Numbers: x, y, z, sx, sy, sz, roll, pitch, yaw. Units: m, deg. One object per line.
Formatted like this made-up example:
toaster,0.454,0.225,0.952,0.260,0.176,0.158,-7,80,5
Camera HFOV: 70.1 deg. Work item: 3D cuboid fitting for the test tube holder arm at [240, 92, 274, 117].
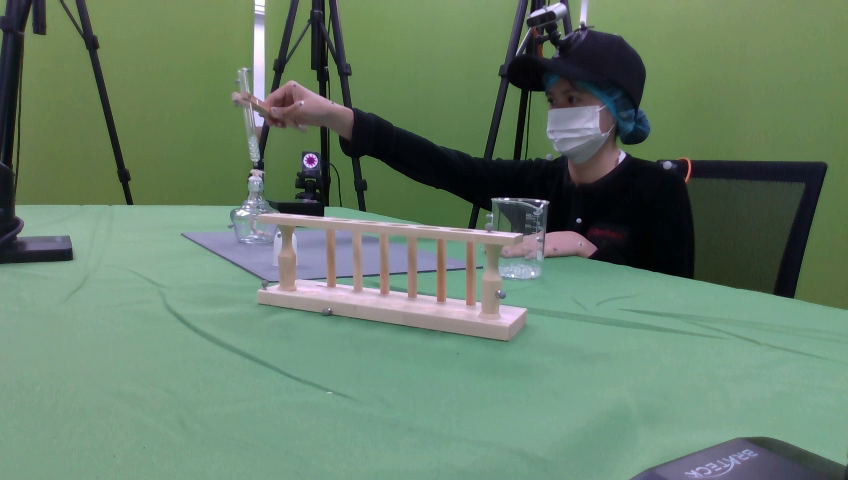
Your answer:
test tube holder arm,-0.268,-0.218,0.978,0.010,0.015,0.088,-6,-9,15

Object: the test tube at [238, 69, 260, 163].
test tube,-0.277,-0.197,0.957,0.017,0.150,0.017,-8,-3,0

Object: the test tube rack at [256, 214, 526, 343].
test tube rack,-0.032,0.027,0.547,0.241,0.085,0.067,6,7,22

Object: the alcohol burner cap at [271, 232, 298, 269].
alcohol burner cap,-0.175,0.012,0.760,0.034,0.048,0.034,2,8,0

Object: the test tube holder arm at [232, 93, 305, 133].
test tube holder arm,-0.257,-0.212,1.022,0.013,0.015,0.179,-6,-9,23

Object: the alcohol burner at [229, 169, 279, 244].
alcohol burner,-0.268,-0.053,0.958,0.078,0.119,0.078,2,5,0

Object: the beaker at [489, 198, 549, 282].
beaker,0.120,-0.001,0.768,0.074,0.100,0.083,-1,9,-25
